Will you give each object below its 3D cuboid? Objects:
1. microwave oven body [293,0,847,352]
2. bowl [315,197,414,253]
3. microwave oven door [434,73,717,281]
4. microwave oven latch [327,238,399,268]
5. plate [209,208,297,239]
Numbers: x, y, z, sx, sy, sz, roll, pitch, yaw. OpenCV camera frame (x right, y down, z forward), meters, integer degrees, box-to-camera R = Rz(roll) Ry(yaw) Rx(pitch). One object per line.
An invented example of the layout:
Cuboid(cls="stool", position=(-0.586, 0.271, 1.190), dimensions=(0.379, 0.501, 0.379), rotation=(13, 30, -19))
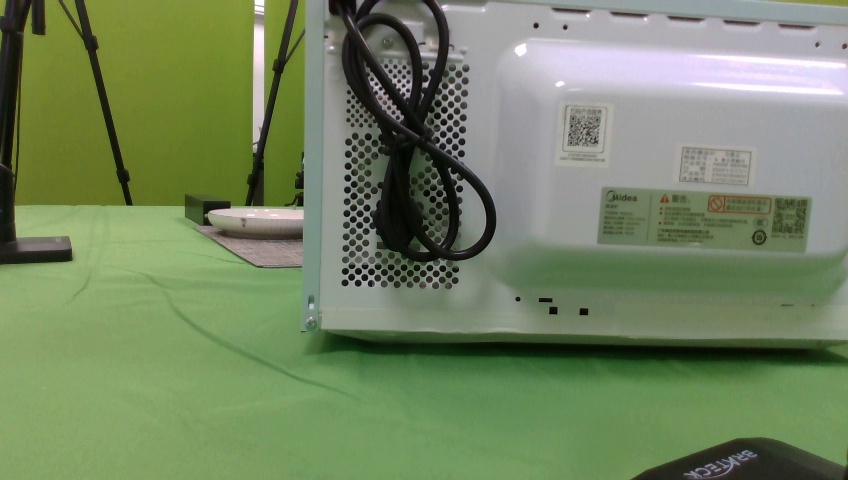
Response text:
Cuboid(cls="microwave oven body", position=(0.122, -0.055, 0.550), dimensions=(0.442, 0.260, 0.325), rotation=(3, 7, -5))
Cuboid(cls="bowl", position=(-0.092, -0.023, 0.931), dimensions=(0.151, 0.077, 0.151), rotation=(3, 7, 0))
Cuboid(cls="microwave oven door", position=(0.180, -0.089, 0.794), dimensions=(0.354, 0.243, 0.039), rotation=(7, 7, 30))
Cuboid(cls="microwave oven latch", position=(-0.070, 0.015, 0.694), dimensions=(0.079, 0.029, 0.030), rotation=(3, 7, -3))
Cuboid(cls="plate", position=(-0.271, -0.029, 1.074), dimensions=(0.208, 0.039, 0.207), rotation=(3, 7, 0))
